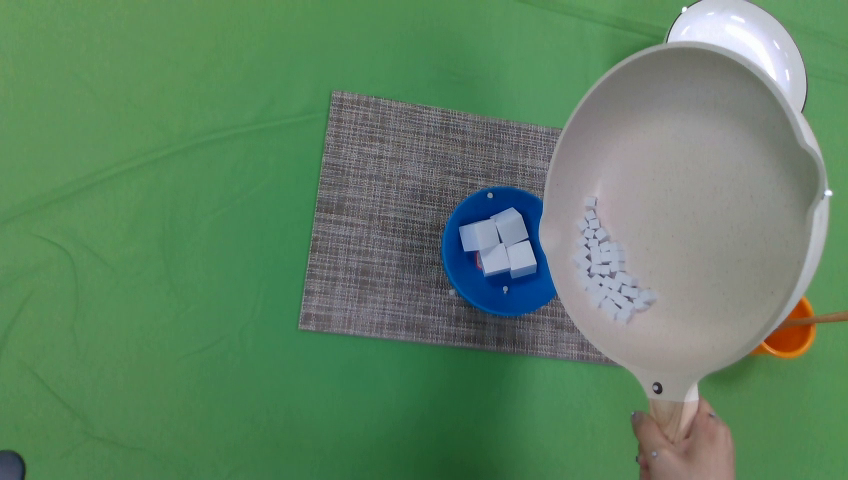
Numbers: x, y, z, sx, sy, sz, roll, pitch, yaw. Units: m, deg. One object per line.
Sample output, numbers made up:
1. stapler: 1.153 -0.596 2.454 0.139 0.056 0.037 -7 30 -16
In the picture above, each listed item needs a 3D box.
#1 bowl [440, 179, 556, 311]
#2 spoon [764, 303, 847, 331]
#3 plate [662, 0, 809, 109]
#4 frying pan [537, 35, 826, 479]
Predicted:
1. bowl: 0.086 0.013 0.713 0.152 0.077 0.150 2 78 -10
2. spoon: 0.469 0.089 0.739 0.022 0.193 0.041 7 72 -55
3. plate: 0.403 -0.227 0.798 0.208 0.039 0.207 2 80 -10
4. frying pan: 0.215 0.072 0.537 0.103 0.306 0.486 8 81 -25
